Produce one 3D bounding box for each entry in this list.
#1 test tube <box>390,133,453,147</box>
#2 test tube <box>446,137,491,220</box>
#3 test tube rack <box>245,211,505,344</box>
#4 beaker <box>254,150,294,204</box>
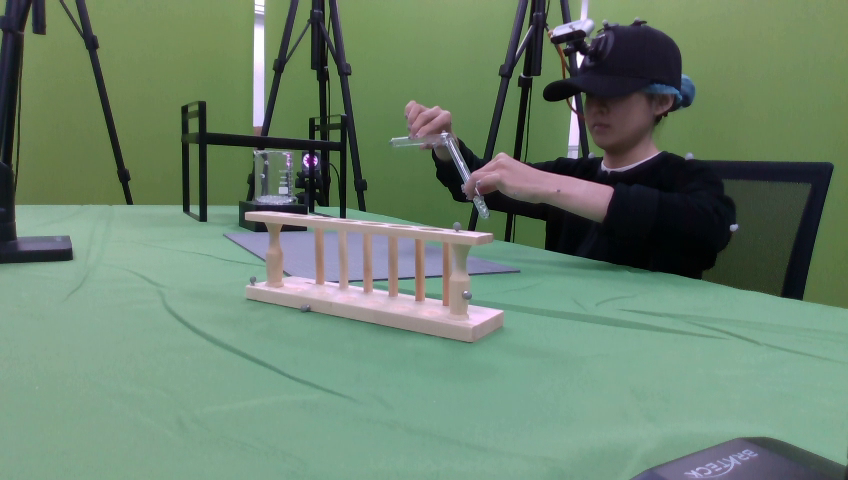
[{"bbox_3d":[-0.007,-0.167,1.017,0.017,0.017,0.149,-4,6,-42],"label":"test tube"},{"bbox_3d":[0.068,-0.096,0.940,0.017,0.150,0.017,-21,-19,-7],"label":"test tube"},{"bbox_3d":[-0.049,0.025,0.547,0.241,0.085,0.067,7,8,29],"label":"test tube rack"},{"bbox_3d":[-0.289,-0.120,1.151,0.073,0.100,0.084,8,9,33],"label":"beaker"}]
